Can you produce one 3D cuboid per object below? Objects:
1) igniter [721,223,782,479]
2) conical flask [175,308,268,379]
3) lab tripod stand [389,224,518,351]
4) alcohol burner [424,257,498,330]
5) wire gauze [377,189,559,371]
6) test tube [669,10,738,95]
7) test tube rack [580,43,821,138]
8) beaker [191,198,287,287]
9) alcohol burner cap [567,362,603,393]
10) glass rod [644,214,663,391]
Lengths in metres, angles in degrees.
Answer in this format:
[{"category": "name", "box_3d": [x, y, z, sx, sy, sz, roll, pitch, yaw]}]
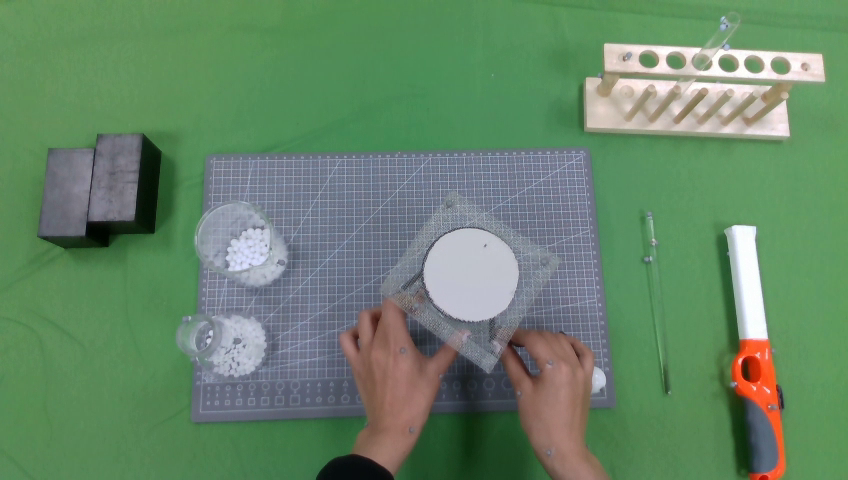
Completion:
[{"category": "igniter", "box_3d": [0.355, 0.116, 0.660, 0.057, 0.025, 0.275, 3, 76, -12]}, {"category": "conical flask", "box_3d": [-0.204, 0.097, 0.597, 0.075, 0.122, 0.075, 0, 76, -1]}, {"category": "lab tripod stand", "box_3d": [0.035, 0.045, 0.611, 0.148, 0.132, 0.147, 0, 78, 0]}, {"category": "alcohol burner", "box_3d": [0.038, 0.052, 0.620, 0.078, 0.119, 0.077, 0, 77, 1]}, {"category": "wire gauze", "box_3d": [0.040, 0.032, 0.545, 0.125, 0.011, 0.121, 35, 79, 7]}, {"category": "test tube", "box_3d": [0.296, -0.197, 0.653, 0.017, 0.151, 0.017, 0, 76, 2]}, {"category": "test tube rack", "box_3d": [0.312, -0.170, 0.698, 0.242, 0.085, 0.066, 2, 76, -1]}, {"category": "beaker", "box_3d": [-0.184, 0.009, 0.631, 0.084, 0.100, 0.074, 34, 78, 6]}, {"category": "alcohol burner cap", "box_3d": [0.172, 0.144, 0.638, 0.034, 0.048, 0.033, 1, 75, -2]}, {"category": "glass rod", "box_3d": [0.257, 0.067, 0.679, 0.008, 0.008, 0.199, 0, 79, -2]}]
